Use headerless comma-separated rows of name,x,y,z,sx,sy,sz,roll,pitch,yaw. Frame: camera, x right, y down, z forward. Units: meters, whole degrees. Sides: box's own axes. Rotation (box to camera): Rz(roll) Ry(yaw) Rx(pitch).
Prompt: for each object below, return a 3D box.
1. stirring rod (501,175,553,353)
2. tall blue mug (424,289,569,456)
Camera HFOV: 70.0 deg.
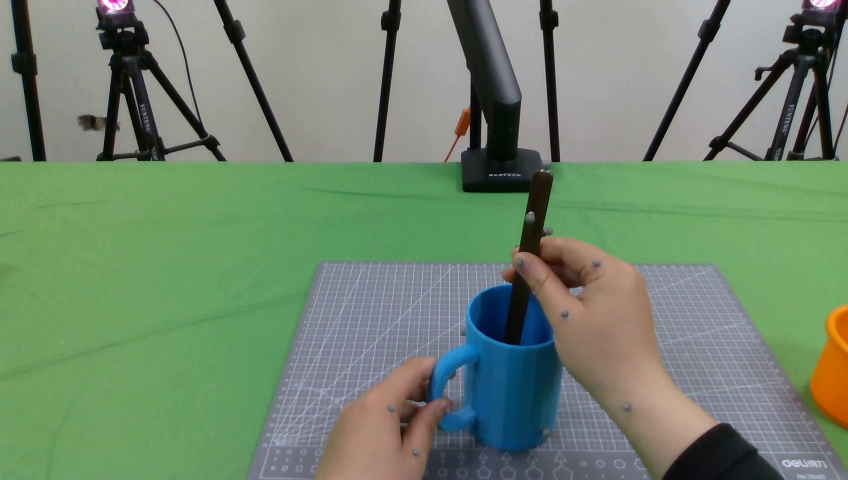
stirring rod,0.069,0.031,0.426,0.014,0.177,0.006,10,37,9
tall blue mug,0.059,0.110,0.463,0.077,0.109,0.107,20,38,28
